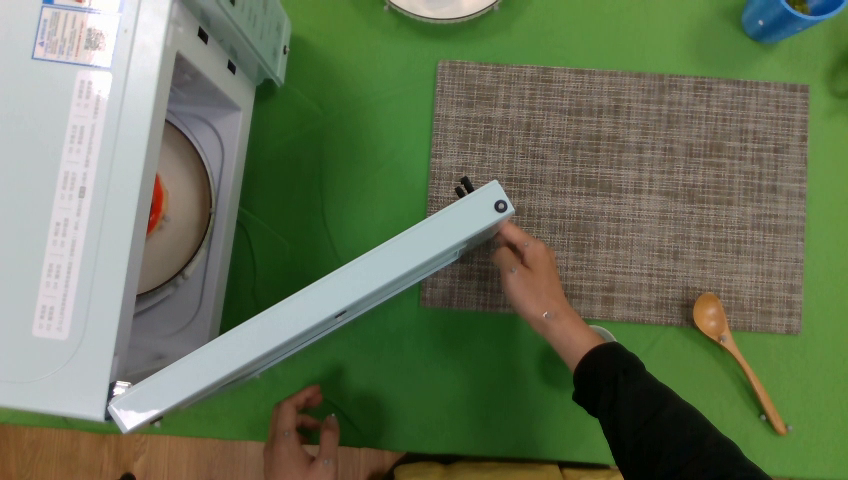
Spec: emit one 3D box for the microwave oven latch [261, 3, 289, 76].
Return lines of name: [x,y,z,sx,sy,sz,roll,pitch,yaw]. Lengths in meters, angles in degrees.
microwave oven latch: [-0.178,-0.236,0.710,0.030,0.029,0.079,9,87,1]

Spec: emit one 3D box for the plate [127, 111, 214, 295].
plate: [-0.329,-0.043,0.655,0.209,0.038,0.209,0,87,0]

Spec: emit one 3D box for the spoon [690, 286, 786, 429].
spoon: [0.366,0.138,0.702,0.041,0.021,0.193,-32,88,-17]

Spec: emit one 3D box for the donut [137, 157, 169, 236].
donut: [-0.323,-0.050,0.649,0.099,0.048,0.099,1,94,10]

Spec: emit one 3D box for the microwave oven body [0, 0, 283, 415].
microwave oven body: [-0.350,-0.085,0.608,0.326,0.260,0.441,7,87,1]

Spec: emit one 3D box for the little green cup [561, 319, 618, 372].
little green cup: [0.188,0.121,0.700,0.061,0.039,0.061,0,83,1]

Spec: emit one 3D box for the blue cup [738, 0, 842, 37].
blue cup: [0.411,-0.279,0.689,0.092,0.100,0.092,0,88,1]

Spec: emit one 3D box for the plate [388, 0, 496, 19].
plate: [0.023,-0.364,0.733,0.208,0.039,0.207,0,86,1]

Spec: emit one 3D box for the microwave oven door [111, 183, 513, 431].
microwave oven door: [-0.085,0.058,0.590,0.356,0.244,0.039,-30,85,-1]
